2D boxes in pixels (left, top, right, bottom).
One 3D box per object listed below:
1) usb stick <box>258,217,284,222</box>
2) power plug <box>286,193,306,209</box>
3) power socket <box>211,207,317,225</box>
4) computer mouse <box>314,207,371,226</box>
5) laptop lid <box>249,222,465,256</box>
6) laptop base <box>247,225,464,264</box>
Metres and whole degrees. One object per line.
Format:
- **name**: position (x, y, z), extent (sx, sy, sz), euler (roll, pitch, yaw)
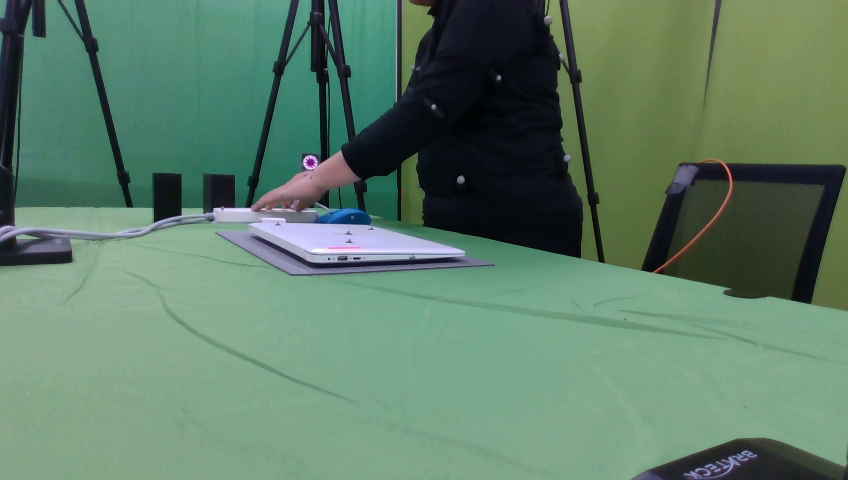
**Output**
- **usb stick**: position (-0.291, -0.028, 1.118), extent (0.059, 0.027, 0.021), euler (-4, 12, -29)
- **power plug**: position (-0.284, -0.077, 1.340), extent (0.035, 0.052, 0.072), euler (5, 6, -23)
- **power socket**: position (-0.334, -0.052, 1.282), extent (0.228, 0.032, 0.072), euler (-2, 9, -28)
- **computer mouse**: position (-0.175, -0.047, 1.292), extent (0.118, 0.041, 0.062), euler (-8, 15, -33)
- **laptop lid**: position (-0.122, -0.005, 0.954), extent (0.243, 0.013, 0.355), euler (1, 7, -28)
- **laptop base**: position (-0.125, 0.006, 0.955), extent (0.237, 0.023, 0.352), euler (2, 6, -30)
